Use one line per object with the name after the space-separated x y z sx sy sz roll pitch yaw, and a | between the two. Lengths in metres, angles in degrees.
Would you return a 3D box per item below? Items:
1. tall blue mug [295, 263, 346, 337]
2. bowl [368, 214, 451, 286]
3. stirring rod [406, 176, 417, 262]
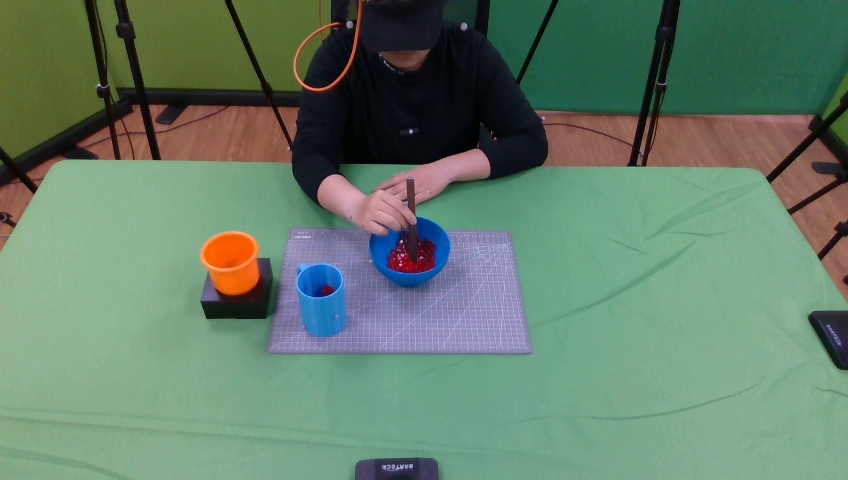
-0.187 0.096 1.027 0.107 0.108 0.077 21 49 16 | tall blue mug
-0.028 0.032 1.122 0.151 0.077 0.150 2 46 -2 | bowl
-0.021 -0.033 1.063 0.014 0.177 0.006 4 35 9 | stirring rod
